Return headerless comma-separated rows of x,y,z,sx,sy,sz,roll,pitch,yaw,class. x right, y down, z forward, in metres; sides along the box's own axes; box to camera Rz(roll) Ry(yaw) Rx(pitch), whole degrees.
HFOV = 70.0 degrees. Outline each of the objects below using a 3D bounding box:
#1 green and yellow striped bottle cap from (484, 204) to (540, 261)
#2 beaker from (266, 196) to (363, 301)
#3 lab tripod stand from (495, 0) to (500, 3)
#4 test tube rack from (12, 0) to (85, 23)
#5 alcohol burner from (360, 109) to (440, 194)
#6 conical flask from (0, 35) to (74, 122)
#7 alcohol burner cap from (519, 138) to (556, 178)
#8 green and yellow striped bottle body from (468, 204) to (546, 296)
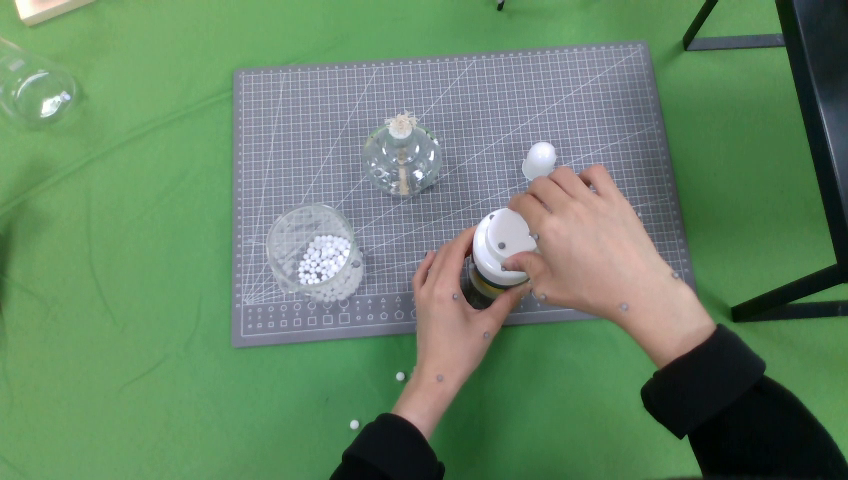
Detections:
0.071,-0.007,0.490,0.045,0.020,0.045,0,76,0,green and yellow striped bottle cap
-0.096,0.016,0.550,0.074,0.101,0.083,25,77,8,beaker
0.139,-0.325,0.626,0.148,0.132,0.147,0,73,-1,lab tripod stand
-0.350,-0.332,0.655,0.242,0.085,0.066,-25,75,-6,test tube rack
-0.023,-0.089,0.570,0.078,0.119,0.077,0,73,-1,alcohol burner
-0.412,-0.175,0.594,0.075,0.122,0.075,0,74,1,conical flask
0.115,-0.085,0.606,0.034,0.048,0.033,0,75,0,alcohol burner cap
0.072,0.009,0.540,0.063,0.120,0.063,0,74,1,green and yellow striped bottle body
